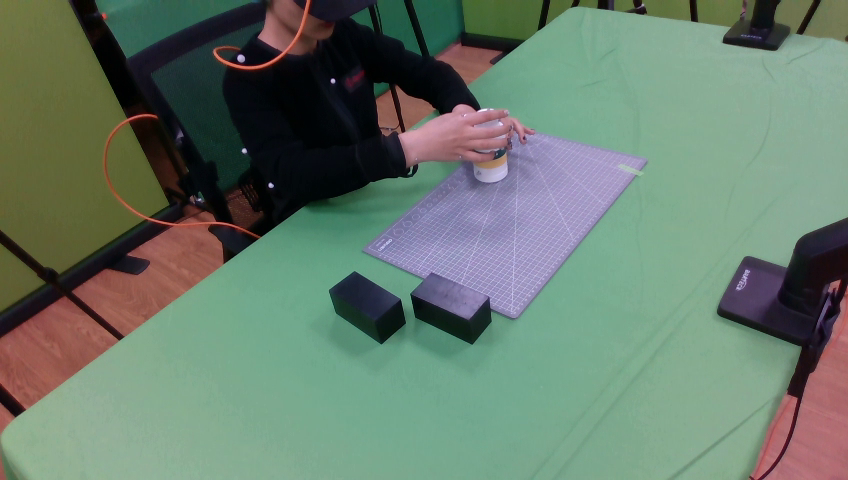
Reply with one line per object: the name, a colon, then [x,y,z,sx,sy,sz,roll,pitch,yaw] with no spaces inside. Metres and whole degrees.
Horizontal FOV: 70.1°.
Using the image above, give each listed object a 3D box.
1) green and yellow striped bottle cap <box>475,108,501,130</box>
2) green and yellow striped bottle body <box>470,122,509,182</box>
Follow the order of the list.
green and yellow striped bottle cap: [0.110,-0.209,1.042,0.045,0.020,0.045,-6,39,5]
green and yellow striped bottle body: [0.117,-0.168,1.078,0.063,0.120,0.063,-6,40,5]
